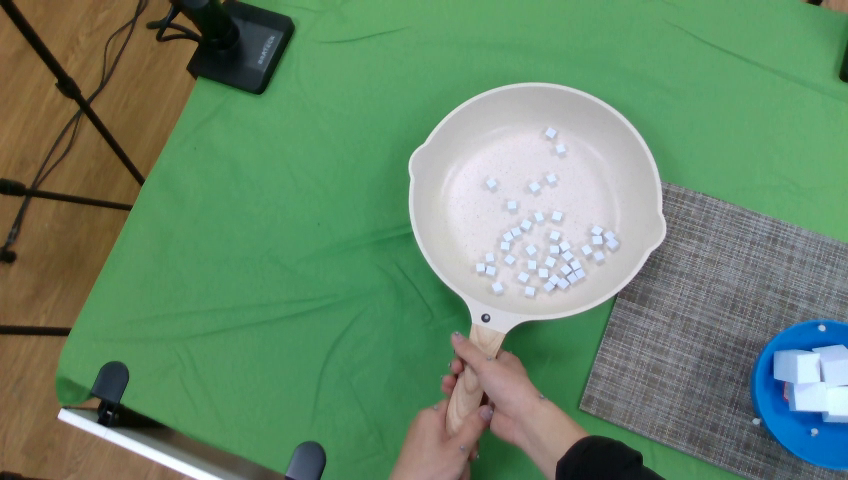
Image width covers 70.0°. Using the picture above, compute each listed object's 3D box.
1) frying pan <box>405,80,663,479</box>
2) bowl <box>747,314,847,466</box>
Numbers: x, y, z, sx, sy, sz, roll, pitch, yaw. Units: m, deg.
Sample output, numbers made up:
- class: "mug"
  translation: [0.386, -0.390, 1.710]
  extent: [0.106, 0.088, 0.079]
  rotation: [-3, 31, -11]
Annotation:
- class: "frying pan"
  translation: [0.089, 0.043, 0.696]
  extent: [0.306, 0.103, 0.485]
  rotation: [18, 69, 10]
- class: "bowl"
  translation: [0.414, 0.160, 0.649]
  extent: [0.151, 0.077, 0.150]
  rotation: [-1, 76, 5]
